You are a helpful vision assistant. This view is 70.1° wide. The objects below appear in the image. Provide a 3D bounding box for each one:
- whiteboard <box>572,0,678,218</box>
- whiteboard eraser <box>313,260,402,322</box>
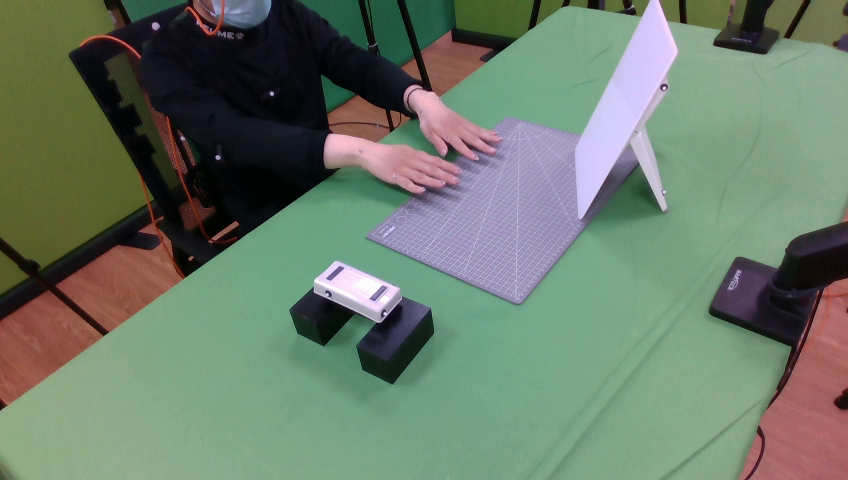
[{"bbox_3d":[0.367,-0.188,0.964,0.144,0.305,0.216,17,42,-3],"label":"whiteboard"},{"bbox_3d":[-0.090,0.070,0.814,0.112,0.042,0.056,21,42,24],"label":"whiteboard eraser"}]
